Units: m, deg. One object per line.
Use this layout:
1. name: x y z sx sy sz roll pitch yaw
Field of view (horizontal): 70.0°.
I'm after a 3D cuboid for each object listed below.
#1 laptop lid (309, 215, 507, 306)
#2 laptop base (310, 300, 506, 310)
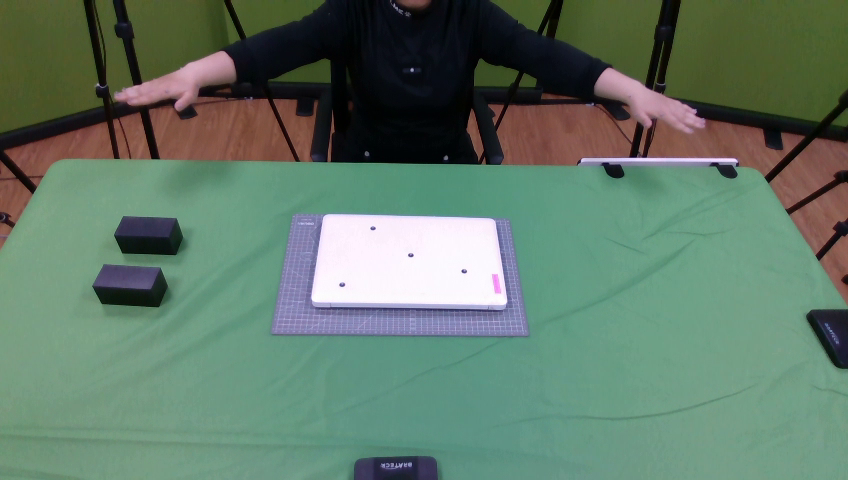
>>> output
1. laptop lid: -0.028 0.033 1.149 0.357 0.013 0.240 3 44 -2
2. laptop base: -0.029 0.043 1.156 0.354 0.023 0.234 1 43 -3
